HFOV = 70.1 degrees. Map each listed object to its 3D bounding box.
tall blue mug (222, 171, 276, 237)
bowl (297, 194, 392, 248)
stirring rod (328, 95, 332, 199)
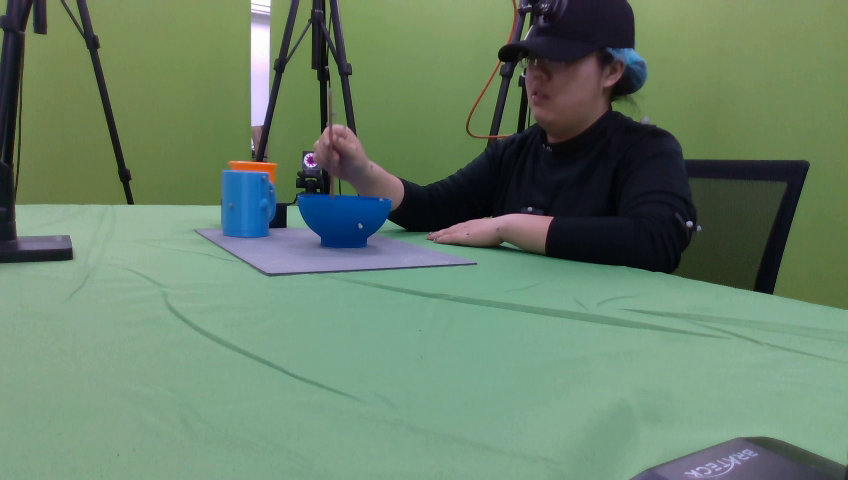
[{"bbox_3d":[-0.303,-0.064,1.043,0.078,0.108,0.107,1,7,-4],"label":"tall blue mug"},{"bbox_3d":[-0.127,-0.030,0.964,0.151,0.077,0.151,3,7,0],"label":"bowl"},{"bbox_3d":[-0.150,-0.142,0.963,0.006,0.176,0.014,0,0,-5],"label":"stirring rod"}]
